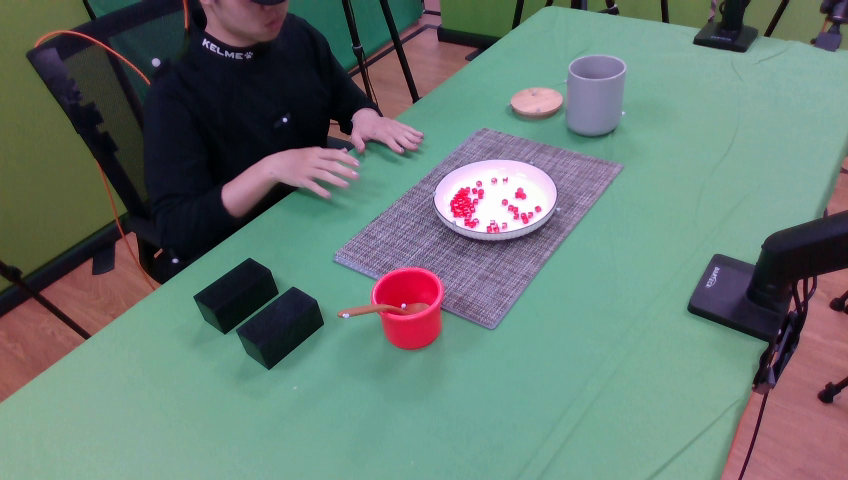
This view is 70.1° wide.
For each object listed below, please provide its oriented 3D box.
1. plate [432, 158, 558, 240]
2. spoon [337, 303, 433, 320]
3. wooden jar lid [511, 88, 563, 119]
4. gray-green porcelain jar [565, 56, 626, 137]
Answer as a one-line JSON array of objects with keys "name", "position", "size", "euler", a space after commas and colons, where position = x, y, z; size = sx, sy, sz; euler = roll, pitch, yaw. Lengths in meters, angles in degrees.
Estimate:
[{"name": "plate", "position": [0.118, -0.066, 1.013], "size": [0.207, 0.039, 0.206], "euler": [-4, 41, 4]}, {"name": "spoon", "position": [-0.048, 0.091, 0.777], "size": [0.041, 0.021, 0.195], "euler": [24, 5, 32]}, {"name": "wooden jar lid", "position": [0.237, -0.286, 1.272], "size": [0.108, 0.021, 0.108], "euler": [-5, 42, 5]}, {"name": "gray-green porcelain jar", "position": [0.325, -0.271, 1.159], "size": [0.106, 0.127, 0.105], "euler": [-4, 41, 4]}]
